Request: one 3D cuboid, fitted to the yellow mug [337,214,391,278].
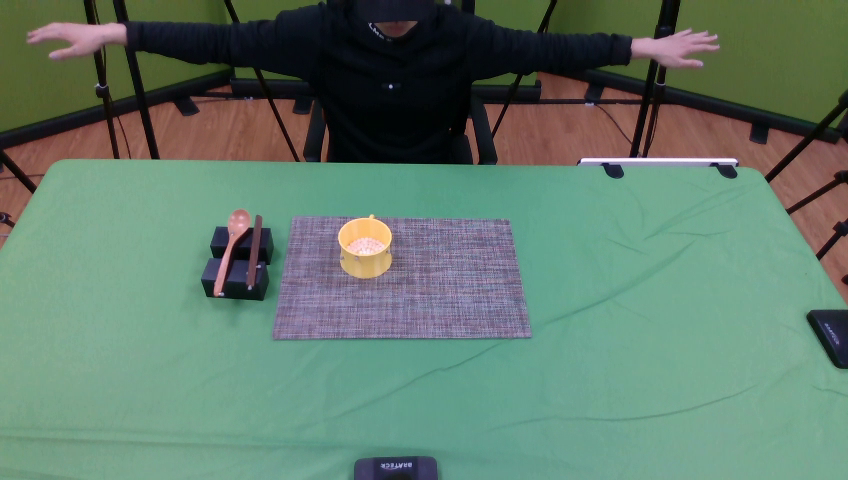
[{"bbox_3d":[-0.110,0.003,1.152,0.100,0.064,0.130,7,45,2],"label":"yellow mug"}]

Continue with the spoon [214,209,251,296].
[{"bbox_3d":[-0.349,0.019,1.087,0.041,0.022,0.192,4,48,-1],"label":"spoon"}]

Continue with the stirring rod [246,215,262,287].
[{"bbox_3d":[-0.308,0.017,1.098,0.014,0.006,0.175,24,37,-29],"label":"stirring rod"}]
